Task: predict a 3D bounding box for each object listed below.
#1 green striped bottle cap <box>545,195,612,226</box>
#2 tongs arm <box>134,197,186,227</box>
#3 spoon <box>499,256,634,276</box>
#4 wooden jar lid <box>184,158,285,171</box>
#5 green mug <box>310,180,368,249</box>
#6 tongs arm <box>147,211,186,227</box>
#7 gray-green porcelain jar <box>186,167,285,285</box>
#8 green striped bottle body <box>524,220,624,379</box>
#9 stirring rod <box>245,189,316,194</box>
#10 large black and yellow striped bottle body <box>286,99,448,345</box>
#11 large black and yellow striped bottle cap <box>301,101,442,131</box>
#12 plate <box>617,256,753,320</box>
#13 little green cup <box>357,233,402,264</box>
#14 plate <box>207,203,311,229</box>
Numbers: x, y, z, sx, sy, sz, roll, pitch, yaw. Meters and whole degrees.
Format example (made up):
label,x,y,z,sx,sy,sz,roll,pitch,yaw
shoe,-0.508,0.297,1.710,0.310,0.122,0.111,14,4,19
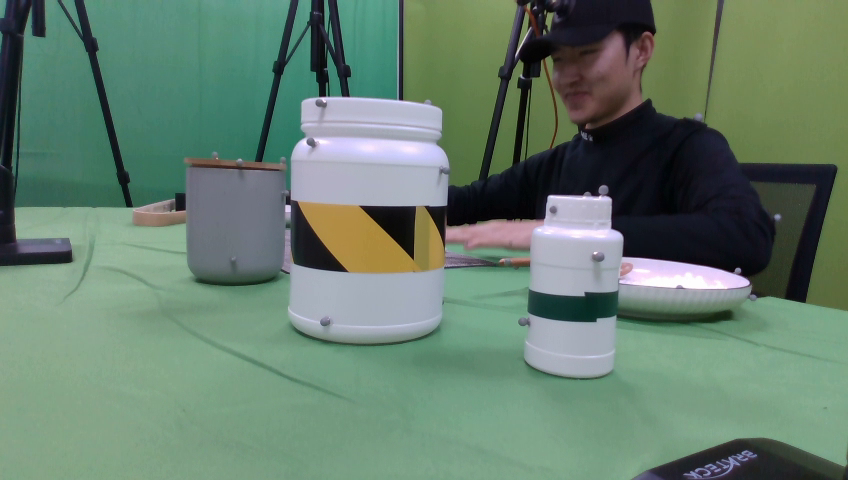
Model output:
label,x,y,z,sx,sy,sz,roll,pitch,yaw
green striped bottle cap,0.106,-0.020,0.414,0.044,0.020,0.044,2,3,0
tongs arm,-0.556,-0.066,1.320,0.051,0.026,0.384,7,7,-5
spoon,0.162,0.027,0.679,0.195,0.021,0.041,8,2,-30
wooden jar lid,-0.210,-0.078,0.674,0.108,0.020,0.108,5,6,0
green mug,-0.131,-0.044,0.981,0.092,0.105,0.125,4,8,14
tongs arm,-0.478,-0.059,1.322,0.028,0.028,0.388,12,8,7
gray-green porcelain jar,-0.212,-0.017,0.682,0.106,0.126,0.106,2,7,0
green striped bottle body,0.104,0.030,0.422,0.063,0.119,0.063,2,8,0
stirring rod,-0.351,-0.120,1.490,0.177,0.014,0.006,-2,6,-29
large black and yellow striped bottle body,-0.047,-0.018,0.501,0.131,0.184,0.130,2,7,0
large black and yellow striped bottle cap,-0.042,-0.100,0.491,0.115,0.019,0.115,1,8,0
plate,0.234,0.049,0.651,0.209,0.038,0.209,2,7,0
little green cup,-0.061,0.011,0.825,0.061,0.038,0.061,1,6,0
plate,-0.342,-0.050,1.259,0.208,0.039,0.207,2,7,0
